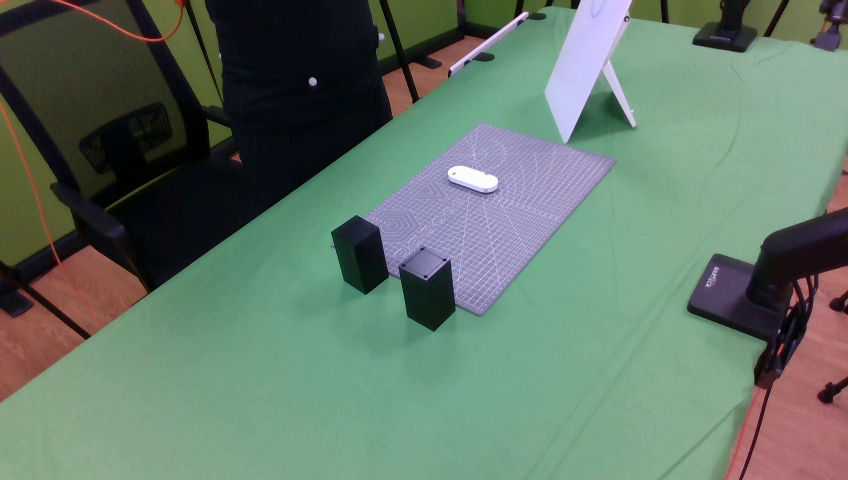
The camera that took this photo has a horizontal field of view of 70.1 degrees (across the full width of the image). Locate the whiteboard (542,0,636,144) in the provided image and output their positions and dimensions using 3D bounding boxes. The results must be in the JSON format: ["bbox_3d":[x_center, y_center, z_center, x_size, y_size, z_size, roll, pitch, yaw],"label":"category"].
[{"bbox_3d":[0.366,-0.351,1.160,0.144,0.305,0.216,10,39,-10],"label":"whiteboard"}]

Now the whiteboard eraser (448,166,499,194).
[{"bbox_3d":[0.088,-0.108,1.082,0.100,0.019,0.041,22,49,31],"label":"whiteboard eraser"}]
